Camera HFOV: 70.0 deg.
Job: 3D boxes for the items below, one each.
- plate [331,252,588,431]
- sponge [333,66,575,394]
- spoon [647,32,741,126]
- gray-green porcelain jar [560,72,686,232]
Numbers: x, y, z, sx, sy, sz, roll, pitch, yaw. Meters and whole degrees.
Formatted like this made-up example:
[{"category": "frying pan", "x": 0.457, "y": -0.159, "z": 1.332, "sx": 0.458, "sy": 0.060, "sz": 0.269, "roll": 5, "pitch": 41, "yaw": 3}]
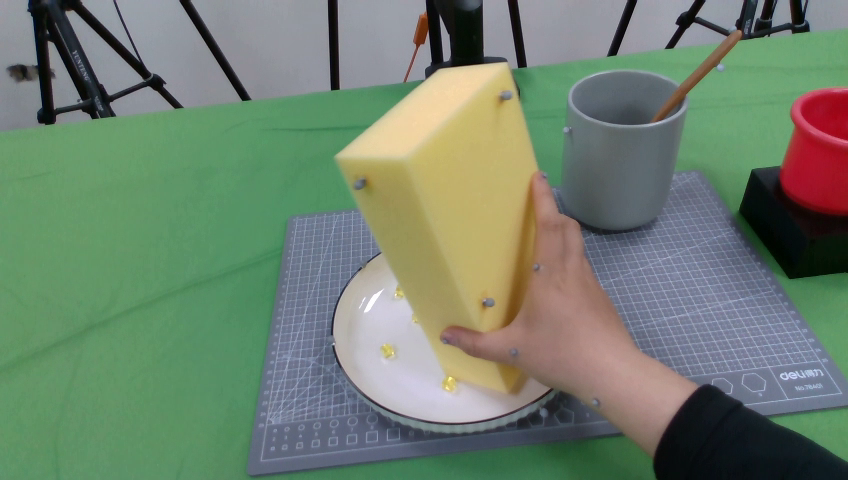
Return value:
[{"category": "plate", "x": 0.029, "y": 0.070, "z": 0.504, "sx": 0.207, "sy": 0.039, "sz": 0.205, "roll": -4, "pitch": 42, "yaw": 4}, {"category": "sponge", "x": 0.035, "y": -0.003, "z": 0.437, "sx": 0.060, "sy": 0.209, "sz": 0.118, "roll": 7, "pitch": 45, "yaw": 40}, {"category": "spoon", "x": 0.213, "y": -0.105, "z": 0.553, "sx": 0.022, "sy": 0.194, "sz": 0.041, "roll": 25, "pitch": 38, "yaw": -6}, {"category": "gray-green porcelain jar", "x": 0.186, "y": -0.080, "z": 0.585, "sx": 0.106, "sy": 0.128, "sz": 0.105, "roll": -4, "pitch": 42, "yaw": 4}]
